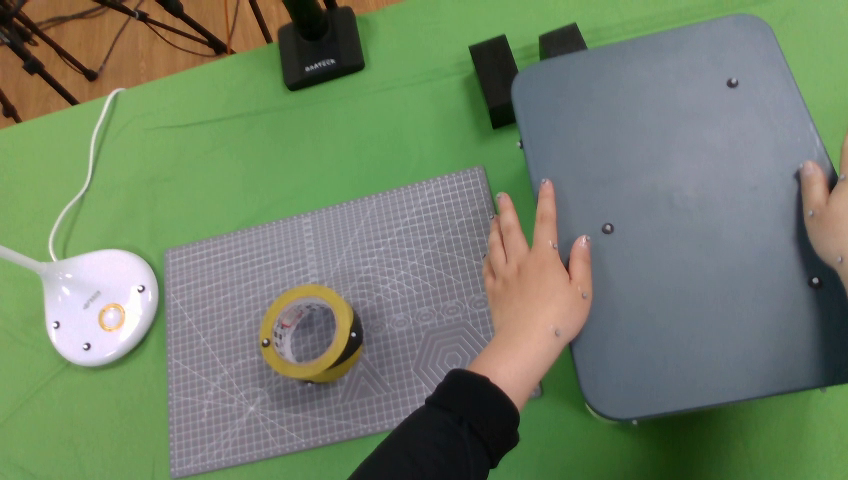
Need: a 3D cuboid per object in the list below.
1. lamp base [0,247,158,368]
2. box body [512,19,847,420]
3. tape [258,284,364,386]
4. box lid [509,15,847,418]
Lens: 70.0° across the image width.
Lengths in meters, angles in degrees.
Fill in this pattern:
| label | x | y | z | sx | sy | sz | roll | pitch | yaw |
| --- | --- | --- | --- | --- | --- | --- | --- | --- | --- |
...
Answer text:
| label | x | y | z | sx | sy | sz | roll | pitch | yaw |
| --- | --- | --- | --- | --- | --- | --- | --- | --- | --- |
| lamp base | -0.457 | 0.059 | 0.744 | 0.178 | 0.182 | 0.160 | 23 | 75 | 22 |
| box body | 0.252 | -0.012 | 0.628 | 0.254 | 0.162 | 0.361 | -12 | 67 | 7 |
| tape | -0.135 | 0.113 | 0.721 | 0.116 | 0.053 | 0.116 | -4 | 68 | 10 |
| box lid | 0.236 | -0.041 | 0.561 | 0.263 | 0.015 | 0.368 | -12 | 67 | 7 |
